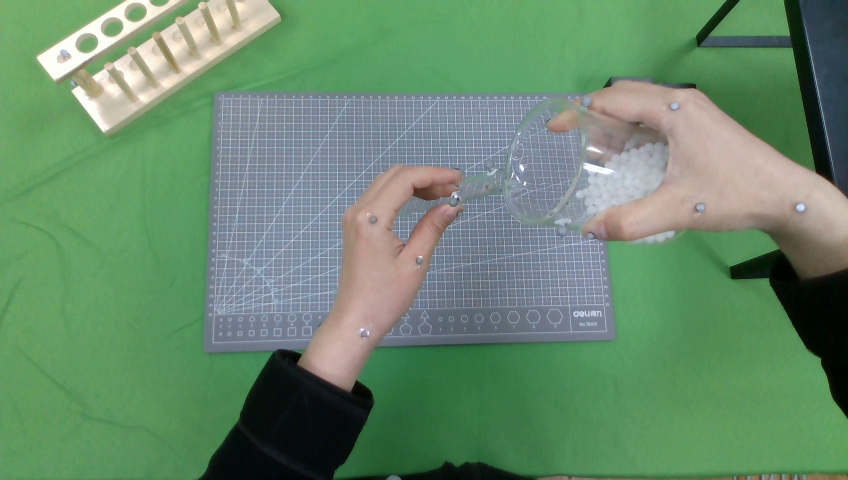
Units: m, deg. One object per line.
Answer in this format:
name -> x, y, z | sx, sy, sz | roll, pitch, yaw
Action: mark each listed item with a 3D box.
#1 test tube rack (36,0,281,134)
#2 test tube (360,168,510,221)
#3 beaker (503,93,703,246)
test tube rack -> -0.283, -0.227, 0.673 | 0.242, 0.085, 0.066 | -38, 82, -11
test tube -> 0.001, -0.030, 0.435 | 0.017, 0.149, 0.017 | 7, 79, -41
beaker -> 0.108, -0.037, 0.367 | 0.101, 0.084, 0.073 | 10, 76, -25
